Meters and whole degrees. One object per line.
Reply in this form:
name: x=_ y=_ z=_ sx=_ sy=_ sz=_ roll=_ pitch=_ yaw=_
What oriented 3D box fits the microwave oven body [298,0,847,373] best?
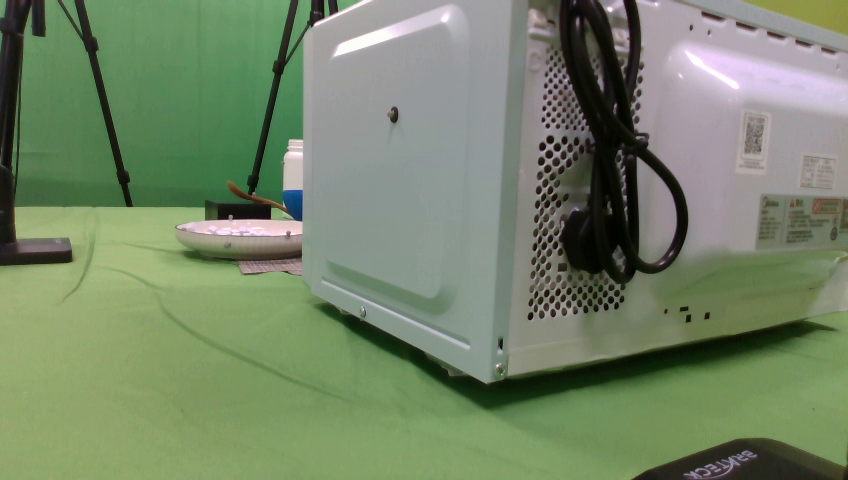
microwave oven body: x=0.151 y=-0.055 z=0.542 sx=0.444 sy=0.260 sz=0.324 roll=-1 pitch=7 yaw=-33

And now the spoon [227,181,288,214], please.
spoon: x=-0.315 y=-0.074 z=1.235 sx=0.195 sy=0.021 sz=0.041 roll=24 pitch=-10 yaw=-37

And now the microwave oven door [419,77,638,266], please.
microwave oven door: x=0.133 y=-0.105 z=0.894 sx=0.354 sy=0.243 sz=0.039 roll=9 pitch=10 yaw=43

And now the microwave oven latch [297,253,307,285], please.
microwave oven latch: x=-0.082 y=0.027 z=0.582 sx=0.079 sy=0.029 sz=0.030 roll=-1 pitch=7 yaw=-32

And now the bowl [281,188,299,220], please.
bowl: x=-0.191 y=-0.053 z=1.129 sx=0.151 sy=0.077 sz=0.151 roll=3 pitch=8 yaw=0

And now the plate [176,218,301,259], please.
plate: x=-0.248 y=-0.003 z=0.877 sx=0.209 sy=0.038 sz=0.209 roll=1 pitch=8 yaw=0

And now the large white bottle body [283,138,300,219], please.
large white bottle body: x=-0.265 y=-0.144 z=1.424 sx=0.131 sy=0.184 sz=0.130 roll=2 pitch=7 yaw=0

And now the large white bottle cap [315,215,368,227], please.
large white bottle cap: x=-0.177 y=-0.041 z=1.309 sx=0.115 sy=0.018 sz=0.115 roll=2 pitch=6 yaw=0
